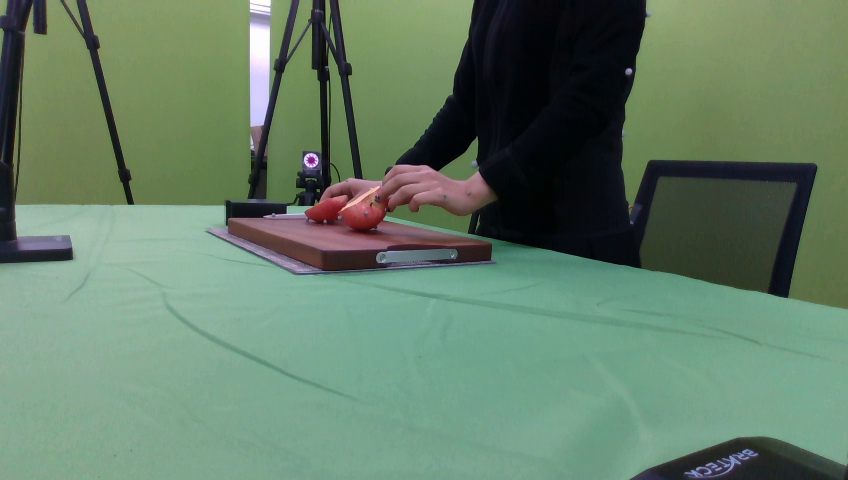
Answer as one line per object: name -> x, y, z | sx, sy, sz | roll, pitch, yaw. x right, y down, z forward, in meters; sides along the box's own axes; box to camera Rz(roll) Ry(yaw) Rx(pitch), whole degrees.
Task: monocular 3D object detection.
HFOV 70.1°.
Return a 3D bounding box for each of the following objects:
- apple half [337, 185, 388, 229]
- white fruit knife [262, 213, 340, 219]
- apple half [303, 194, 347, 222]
apple half -> -0.092, -0.046, 0.957 | 0.081, 0.053, 0.074 | -39, 14, -31
white fruit knife -> -0.198, -0.047, 1.113 | 0.208, 0.016, 0.027 | -5, -18, -35
apple half -> -0.166, -0.051, 1.051 | 0.081, 0.033, 0.081 | -21, -3, -1
